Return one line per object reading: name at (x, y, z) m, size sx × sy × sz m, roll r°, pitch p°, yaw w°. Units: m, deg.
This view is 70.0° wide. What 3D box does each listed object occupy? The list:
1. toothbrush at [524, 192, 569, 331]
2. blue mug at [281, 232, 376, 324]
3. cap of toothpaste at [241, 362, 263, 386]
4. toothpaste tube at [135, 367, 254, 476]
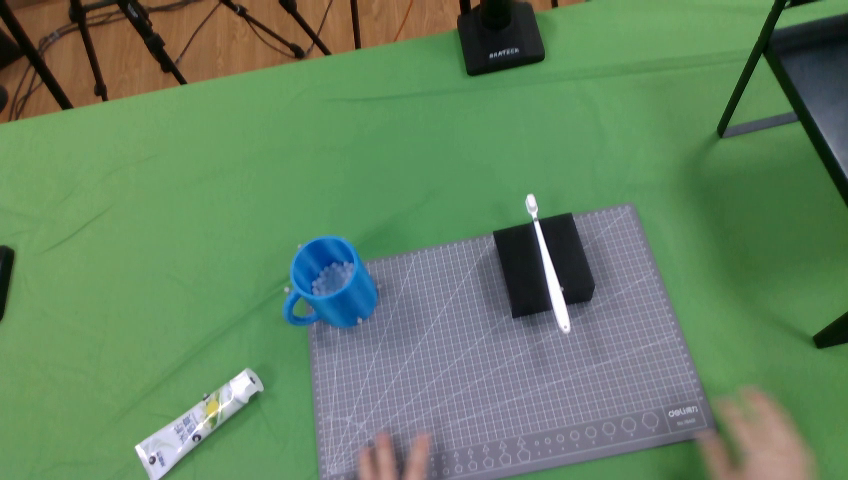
toothbrush at (0.145, 0.021, 0.719) m, size 0.014 × 0.017 × 0.180 m, roll -9°, pitch 64°, yaw -2°
blue mug at (-0.123, 0.059, 0.746) m, size 0.116 × 0.107 × 0.081 m, roll -38°, pitch 65°, yaw -9°
cap of toothpaste at (-0.214, 0.167, 0.749) m, size 0.011 × 0.037 × 0.037 m, roll -38°, pitch 65°, yaw -6°
toothpaste tube at (-0.277, 0.214, 0.743) m, size 0.165 × 0.035 × 0.054 m, roll -38°, pitch 61°, yaw -6°
